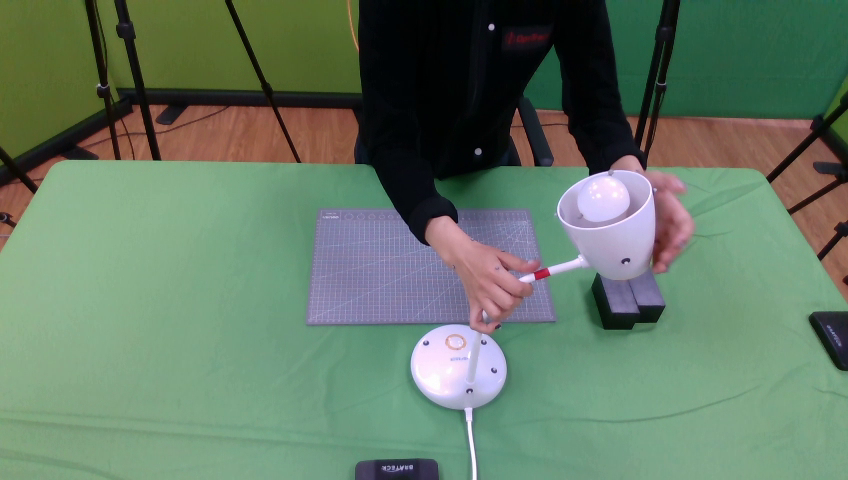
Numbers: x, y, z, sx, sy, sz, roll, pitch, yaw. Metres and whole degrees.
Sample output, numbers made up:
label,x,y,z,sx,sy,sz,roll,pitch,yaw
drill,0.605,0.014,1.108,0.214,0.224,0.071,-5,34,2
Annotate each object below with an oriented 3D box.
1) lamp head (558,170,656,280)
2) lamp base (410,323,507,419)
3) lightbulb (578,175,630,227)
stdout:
label,x,y,z,sx,sy,sz,roll,pitch,yaw
lamp head,0.231,-0.007,0.750,0.112,0.123,0.112,-15,35,11
lamp base,0.064,0.162,0.939,0.161,0.181,0.178,-9,50,-12
lightbulb,0.227,-0.030,0.742,0.059,0.108,0.059,-20,32,14
